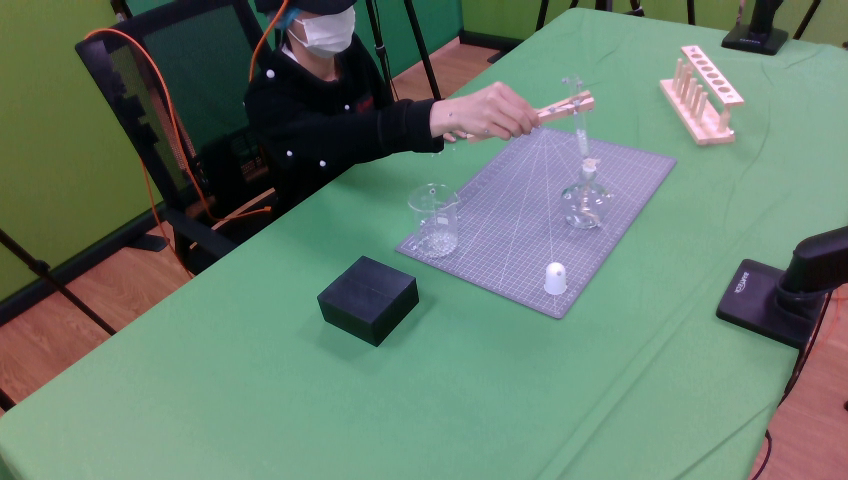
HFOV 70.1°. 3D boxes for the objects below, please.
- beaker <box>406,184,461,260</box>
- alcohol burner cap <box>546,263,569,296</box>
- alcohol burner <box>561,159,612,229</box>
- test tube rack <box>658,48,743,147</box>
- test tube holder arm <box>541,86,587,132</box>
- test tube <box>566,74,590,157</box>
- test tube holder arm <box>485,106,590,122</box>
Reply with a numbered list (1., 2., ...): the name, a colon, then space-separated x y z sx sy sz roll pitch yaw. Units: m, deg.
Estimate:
1. beaker: 0.019 -0.026 0.939 0.084 0.101 0.074 1 41 10
2. alcohol burner cap: 0.191 0.053 0.862 0.034 0.048 0.033 -5 40 4
3. alcohol burner: 0.257 -0.077 0.951 0.078 0.119 0.077 -3 40 3
4. test tube rack: 0.532 -0.284 1.181 0.067 0.085 0.241 -5 40 4
5. test tube holder arm: 0.191 -0.179 0.824 0.088 0.010 0.015 -45 35 -14
6. test tube: 0.219 -0.172 0.855 0.017 0.151 0.017 -12 50 15
7. test tube holder arm: 0.154 -0.168 0.802 0.180 0.013 0.015 -10 23 -33
